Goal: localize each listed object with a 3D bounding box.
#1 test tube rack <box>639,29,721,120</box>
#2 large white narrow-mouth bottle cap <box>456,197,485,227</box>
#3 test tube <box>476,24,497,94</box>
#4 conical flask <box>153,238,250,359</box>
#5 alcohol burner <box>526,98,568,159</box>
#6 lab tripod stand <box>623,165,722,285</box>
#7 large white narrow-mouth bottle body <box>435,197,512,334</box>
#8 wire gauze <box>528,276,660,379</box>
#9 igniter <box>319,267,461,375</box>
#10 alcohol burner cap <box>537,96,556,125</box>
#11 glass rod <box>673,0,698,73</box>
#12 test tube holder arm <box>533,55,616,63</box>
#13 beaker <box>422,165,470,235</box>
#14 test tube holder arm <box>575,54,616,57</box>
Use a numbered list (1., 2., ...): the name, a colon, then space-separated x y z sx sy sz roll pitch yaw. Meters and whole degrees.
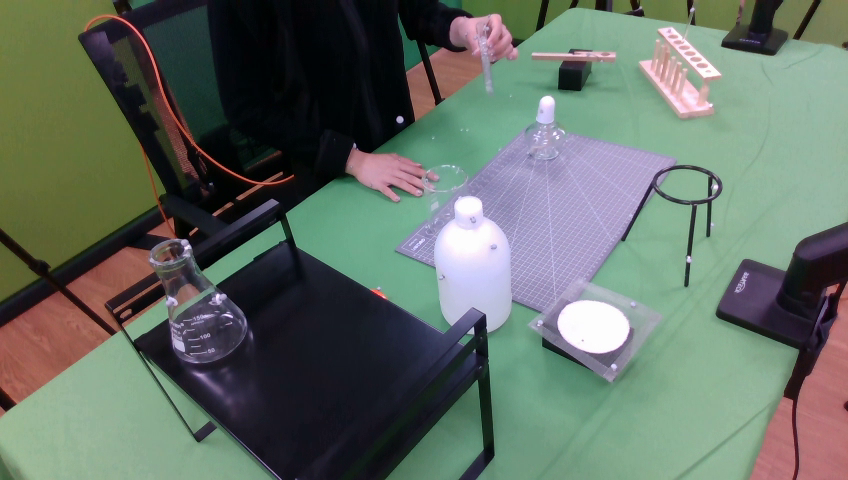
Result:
1. test tube rack: 0.527 -0.351 1.262 0.067 0.085 0.241 -8 40 1
2. large white narrow-mouth bottle cap: 0.057 -0.035 0.750 0.038 0.024 0.037 -4 40 4
3. test tube: 0.108 -0.306 1.034 0.017 0.151 0.017 -6 58 11
4. conical flask: -0.225 0.055 0.597 0.075 0.122 0.075 -5 41 4
5. alcohol burner: 0.228 -0.210 1.118 0.078 0.119 0.077 -5 43 5
6. lab tripod stand: 0.365 -0.030 0.874 0.148 0.132 0.147 -6 41 6
7. large white narrow-mouth bottle body: 0.066 0.028 0.805 0.102 0.195 0.101 -4 40 4
8. wire gauze: 0.213 0.103 0.763 0.124 0.011 0.122 30 52 35
9. igniter: -0.060 0.108 0.862 0.274 0.025 0.057 28 62 35
10. alcohol burner cap: 0.223 -0.237 1.095 0.034 0.048 0.033 -1 42 1
11. glass rod: 0.537 -0.425 1.244 0.008 0.200 0.008 0 47 0
12. test tube holder arm: 0.329 -0.398 1.327 0.178 0.015 0.013 5 51 15
13. beaker: 0.041 -0.063 0.986 0.073 0.101 0.084 20 47 29
14. test tube holder arm: 0.373 -0.398 1.318 0.087 0.015 0.010 5 51 16
